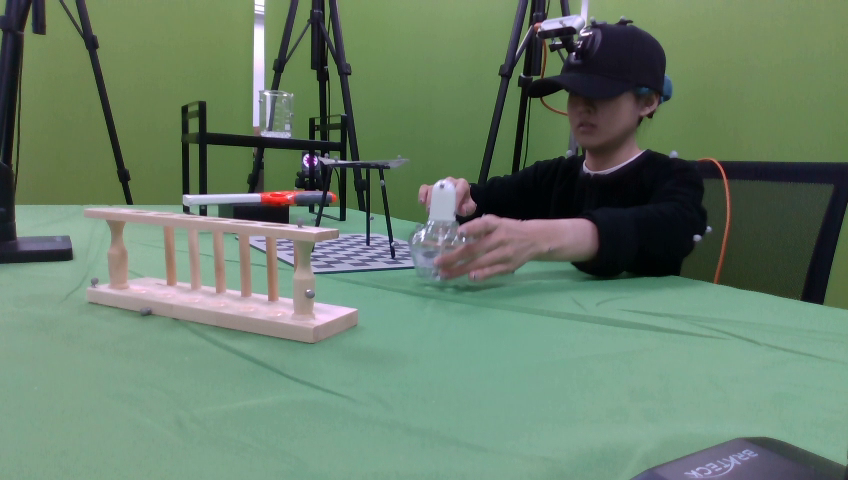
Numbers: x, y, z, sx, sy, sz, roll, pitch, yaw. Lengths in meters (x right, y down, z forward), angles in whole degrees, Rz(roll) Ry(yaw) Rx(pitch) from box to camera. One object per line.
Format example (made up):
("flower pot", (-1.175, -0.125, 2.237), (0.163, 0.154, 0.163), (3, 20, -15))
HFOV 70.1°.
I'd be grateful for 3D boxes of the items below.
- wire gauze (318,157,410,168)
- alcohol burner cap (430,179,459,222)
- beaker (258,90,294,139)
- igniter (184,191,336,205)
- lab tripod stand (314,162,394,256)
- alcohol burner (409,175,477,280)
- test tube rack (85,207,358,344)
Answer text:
("wire gauze", (-0.090, -0.114, 0.888), (0.122, 0.011, 0.124), (0, 6, -15))
("alcohol burner cap", (0.025, -0.044, 0.682), (0.034, 0.048, 0.034), (4, 7, 0))
("beaker", (-0.324, -0.274, 1.331), (0.083, 0.100, 0.074), (7, 9, 24))
("igniter", (-0.298, -0.078, 1.125), (0.278, 0.025, 0.057), (-3, 13, -32))
("lab tripod stand", (-0.098, -0.048, 0.897), (0.148, 0.131, 0.148), (1, 6, 0))
("alcohol burner", (0.022, -0.014, 0.686), (0.078, 0.119, 0.078), (3, 6, 0))
("test tube rack", (-0.177, 0.022, 0.518), (0.241, 0.085, 0.067), (6, 7, 23))
